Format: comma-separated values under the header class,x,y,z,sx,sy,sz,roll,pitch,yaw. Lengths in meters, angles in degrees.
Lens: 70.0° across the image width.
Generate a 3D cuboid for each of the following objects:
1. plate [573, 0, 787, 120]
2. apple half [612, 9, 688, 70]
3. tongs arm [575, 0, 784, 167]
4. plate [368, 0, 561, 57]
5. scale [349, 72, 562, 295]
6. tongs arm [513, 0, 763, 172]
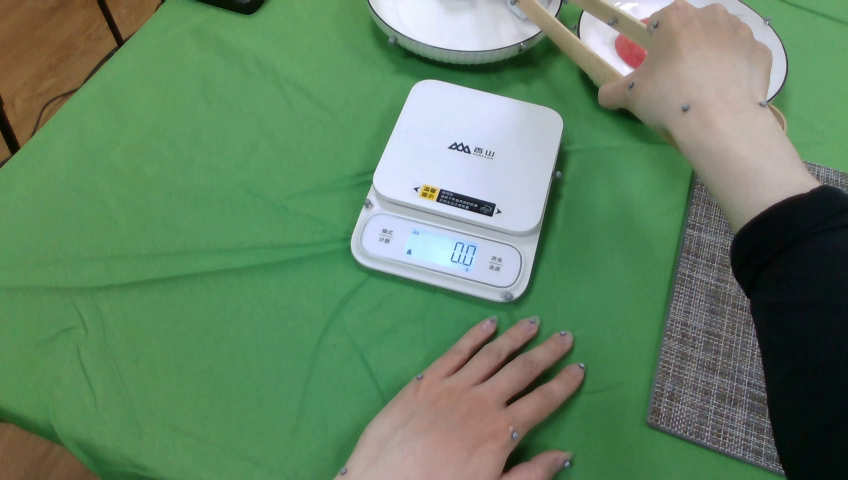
class,x,y,z,sx,sy,sz,roll,pitch,yaw
plate,0.253,-0.196,0.614,0.209,0.038,0.207,1,58,-2
apple half,0.236,-0.211,0.616,0.081,0.033,0.080,0,55,0
tongs arm,0.166,-0.182,0.530,0.051,0.027,0.380,-27,47,-7
plate,0.041,-0.265,0.647,0.208,0.039,0.205,1,59,-2
scale,0.032,-0.057,0.523,0.148,0.032,0.199,15,60,7
tongs arm,0.144,-0.172,0.529,0.028,0.028,0.383,-22,46,-7
